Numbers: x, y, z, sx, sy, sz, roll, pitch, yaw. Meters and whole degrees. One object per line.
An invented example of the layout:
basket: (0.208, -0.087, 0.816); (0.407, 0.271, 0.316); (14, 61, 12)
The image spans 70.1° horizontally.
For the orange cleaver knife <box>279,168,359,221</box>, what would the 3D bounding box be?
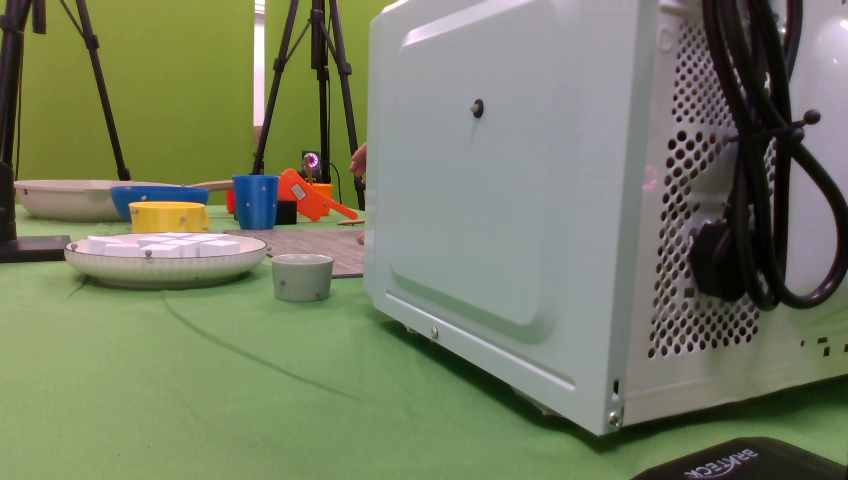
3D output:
orange cleaver knife: (-0.236, -0.084, 1.333); (0.212, 0.077, 0.012); (31, -9, -31)

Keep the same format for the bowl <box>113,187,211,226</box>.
bowl: (-0.436, -0.046, 1.013); (0.151, 0.077, 0.151); (2, 7, 0)

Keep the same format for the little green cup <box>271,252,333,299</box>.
little green cup: (-0.122, 0.035, 0.605); (0.061, 0.038, 0.061); (3, 6, 0)

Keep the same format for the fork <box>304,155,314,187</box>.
fork: (-0.268, -0.134, 1.446); (0.028, 0.018, 0.207); (2, -36, -1)

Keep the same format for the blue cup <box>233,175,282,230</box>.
blue cup: (-0.314, -0.071, 1.141); (0.093, 0.100, 0.092); (0, 7, 0)

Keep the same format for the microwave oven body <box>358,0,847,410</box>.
microwave oven body: (0.210, -0.051, 0.471); (0.444, 0.260, 0.324); (-1, 7, -28)

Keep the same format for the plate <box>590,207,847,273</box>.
plate: (0.246, -0.002, 0.510); (0.209, 0.038, 0.209); (3, 6, 0)

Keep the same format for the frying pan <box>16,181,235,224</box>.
frying pan: (-0.553, -0.097, 1.266); (0.490, 0.102, 0.305); (-10, 13, -24)

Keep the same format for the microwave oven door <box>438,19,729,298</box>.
microwave oven door: (0.181, -0.076, 0.618); (0.358, 0.243, 0.039); (-2, 8, -28)

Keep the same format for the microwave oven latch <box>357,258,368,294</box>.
microwave oven latch: (-0.019, 0.031, 0.530); (0.079, 0.029, 0.030); (-1, 7, -27)

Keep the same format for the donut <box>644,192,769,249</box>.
donut: (0.239, -0.017, 0.518); (0.099, 0.048, 0.099); (2, 4, 0)

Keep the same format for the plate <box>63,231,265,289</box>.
plate: (-0.288, 0.021, 0.687); (0.208, 0.039, 0.207); (2, 8, 0)

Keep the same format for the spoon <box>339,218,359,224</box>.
spoon: (-0.087, -0.041, 1.268); (0.193, 0.021, 0.041); (3, 19, 13)

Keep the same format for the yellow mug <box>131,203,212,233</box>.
yellow mug: (-0.356, -0.020, 0.878); (0.099, 0.064, 0.131); (5, 7, 22)
